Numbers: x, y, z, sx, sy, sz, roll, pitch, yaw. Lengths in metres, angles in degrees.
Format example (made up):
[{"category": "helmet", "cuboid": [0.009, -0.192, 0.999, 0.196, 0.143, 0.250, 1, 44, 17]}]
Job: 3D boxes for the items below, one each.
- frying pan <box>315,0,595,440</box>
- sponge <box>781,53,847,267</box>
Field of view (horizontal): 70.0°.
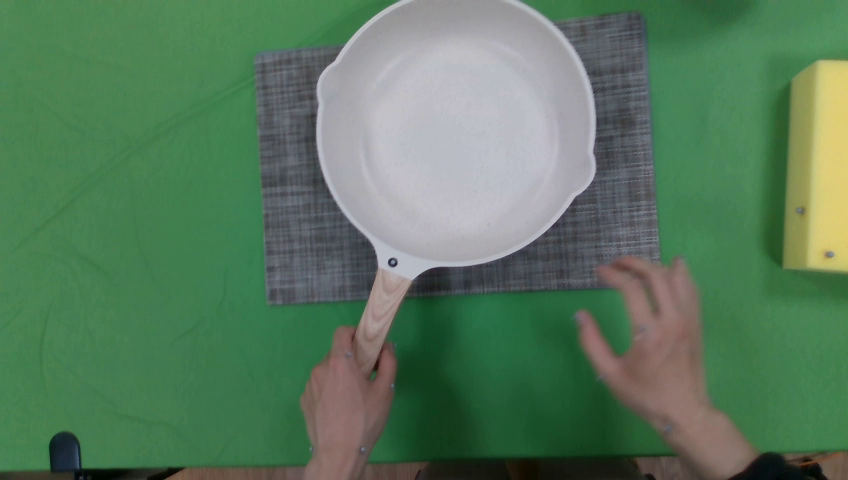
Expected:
[{"category": "frying pan", "cuboid": [-0.008, -0.024, 0.644, 0.306, 0.103, 0.487, 22, 83, 9]}, {"category": "sponge", "cuboid": [0.438, -0.075, 0.608, 0.118, 0.061, 0.206, 3, 89, 8]}]
